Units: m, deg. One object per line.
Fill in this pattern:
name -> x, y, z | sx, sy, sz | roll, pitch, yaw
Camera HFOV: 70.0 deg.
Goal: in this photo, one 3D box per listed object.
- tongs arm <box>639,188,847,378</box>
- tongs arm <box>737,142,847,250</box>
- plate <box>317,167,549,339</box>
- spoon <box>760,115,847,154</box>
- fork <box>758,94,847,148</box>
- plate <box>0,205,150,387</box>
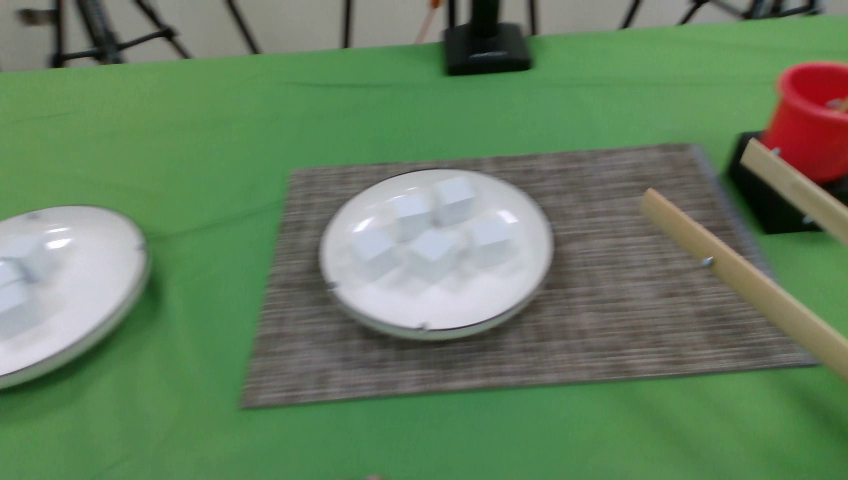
tongs arm -> 0.285, 0.083, 0.368 | 0.028, 0.028, 0.383 | -26, 54, -28
tongs arm -> 0.339, 0.060, 0.389 | 0.051, 0.027, 0.380 | -21, 53, -21
plate -> 0.008, 0.011, 0.556 | 0.207, 0.039, 0.205 | -1, 44, 2
spoon -> 0.379, -0.108, 0.509 | 0.041, 0.193, 0.021 | -30, 92, -31
fork -> 0.404, -0.139, 0.540 | 0.207, 0.019, 0.028 | -34, 14, 26
plate -> -0.349, 0.049, 0.540 | 0.209, 0.038, 0.207 | -1, 44, 1
